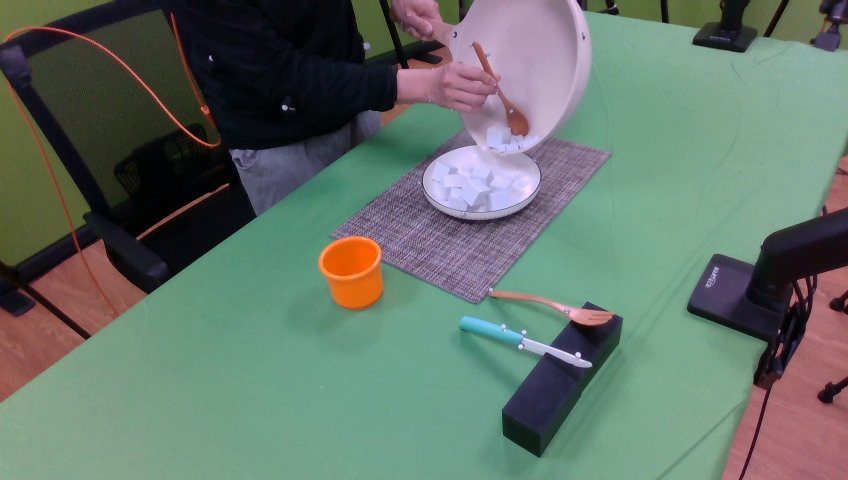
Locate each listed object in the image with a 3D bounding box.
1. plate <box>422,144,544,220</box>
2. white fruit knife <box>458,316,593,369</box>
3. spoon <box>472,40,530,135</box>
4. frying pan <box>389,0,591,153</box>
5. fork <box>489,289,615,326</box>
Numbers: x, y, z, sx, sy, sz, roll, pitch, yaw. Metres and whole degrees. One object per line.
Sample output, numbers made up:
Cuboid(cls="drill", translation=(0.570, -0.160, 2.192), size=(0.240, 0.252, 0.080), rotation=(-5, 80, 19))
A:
Cuboid(cls="plate", translation=(0.102, -0.097, 1.048), size=(0.207, 0.039, 0.206), rotation=(-4, 40, 4))
Cuboid(cls="white fruit knife", translation=(0.120, 0.127, 0.757), size=(0.205, 0.027, 0.016), rotation=(12, 45, 43))
Cuboid(cls="spoon", translation=(0.127, -0.249, 1.005), size=(0.041, 0.195, 0.021), rotation=(8, 59, 43))
Cuboid(cls="frying pan", translation=(0.095, -0.343, 1.068), size=(0.103, 0.307, 0.483), rotation=(-12, 39, -44))
Cuboid(cls="fork", translation=(0.161, 0.085, 0.800), size=(0.205, 0.019, 0.028), rotation=(12, 50, 48))
